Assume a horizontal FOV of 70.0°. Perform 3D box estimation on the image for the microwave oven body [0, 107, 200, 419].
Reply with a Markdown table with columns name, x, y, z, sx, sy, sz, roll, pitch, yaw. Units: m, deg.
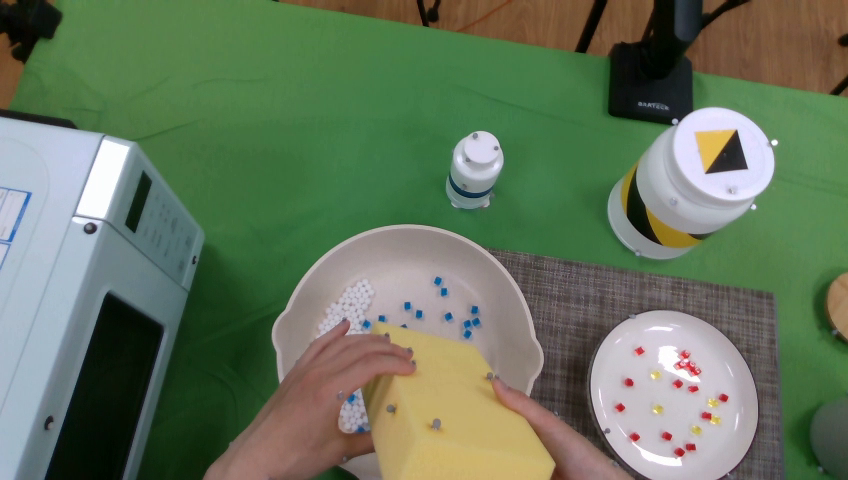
| name | x | y | z | sx | sy | sz | roll | pitch | yaw |
| --- | --- | --- | --- | --- | --- | --- | --- | --- | --- |
| microwave oven body | -0.452 | 0.117 | 0.574 | 0.326 | 0.261 | 0.439 | 10 | 72 | -2 |

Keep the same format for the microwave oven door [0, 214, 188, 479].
| name | x | y | z | sx | sy | sz | roll | pitch | yaw |
| --- | --- | --- | --- | --- | --- | --- | --- | --- | --- |
| microwave oven door | -0.315 | 0.179 | 0.559 | 0.039 | 0.245 | 0.353 | 9 | 71 | -2 |

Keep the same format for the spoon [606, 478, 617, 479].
| name | x | y | z | sx | sy | sz | roll | pitch | yaw |
| --- | --- | --- | --- | --- | --- | --- | --- | --- | --- |
| spoon | 0.264 | 0.352 | 0.685 | 0.041 | 0.022 | 0.193 | -35 | 79 | -32 |

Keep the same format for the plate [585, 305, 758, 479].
| name | x | y | z | sx | sy | sz | roll | pitch | yaw |
| --- | --- | --- | --- | --- | --- | --- | --- | --- | --- |
| plate | 0.294 | 0.183 | 0.733 | 0.209 | 0.038 | 0.208 | 1 | 72 | -4 |

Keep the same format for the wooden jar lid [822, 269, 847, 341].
| name | x | y | z | sx | sy | sz | roll | pitch | yaw |
| --- | --- | --- | --- | --- | --- | --- | --- | --- | --- |
| wooden jar lid | 0.578 | 0.091 | 0.802 | 0.108 | 0.021 | 0.107 | 1 | 73 | -4 |

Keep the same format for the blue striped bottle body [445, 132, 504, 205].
| name | x | y | z | sx | sy | sz | roll | pitch | yaw |
| --- | --- | --- | --- | --- | --- | --- | --- | --- | --- |
| blue striped bottle body | 0.064 | -0.095 | 0.765 | 0.063 | 0.121 | 0.062 | 1 | 71 | -4 |

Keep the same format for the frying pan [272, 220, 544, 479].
| name | x | y | z | sx | sy | sz | roll | pitch | yaw |
| --- | --- | --- | --- | --- | --- | --- | --- | --- | --- |
| frying pan | -0.031 | 0.215 | 0.662 | 0.307 | 0.103 | 0.484 | 8 | 63 | 1 |

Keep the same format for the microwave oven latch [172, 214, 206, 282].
| name | x | y | z | sx | sy | sz | roll | pitch | yaw |
| --- | --- | --- | --- | --- | --- | --- | --- | --- | --- |
| microwave oven latch | -0.286 | 0.008 | 0.726 | 0.030 | 0.029 | 0.078 | 12 | 72 | -1 |

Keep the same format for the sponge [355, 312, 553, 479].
| name | x | y | z | sx | sy | sz | roll | pitch | yaw |
| --- | --- | --- | --- | --- | --- | --- | --- | --- | --- |
| sponge | 0.014 | 0.147 | 0.546 | 0.119 | 0.205 | 0.061 | 17 | 103 | -19 |

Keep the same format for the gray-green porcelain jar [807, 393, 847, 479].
| name | x | y | z | sx | sy | sz | roll | pitch | yaw |
| --- | --- | --- | --- | --- | --- | --- | --- | --- | --- |
| gray-green porcelain jar | 0.521 | 0.226 | 0.696 | 0.106 | 0.127 | 0.105 | 2 | 71 | -4 |

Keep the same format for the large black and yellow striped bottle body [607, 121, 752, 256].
| name | x | y | z | sx | sy | sz | roll | pitch | yaw |
| --- | --- | --- | --- | --- | --- | --- | --- | --- | --- |
| large black and yellow striped bottle body | 0.317 | -0.067 | 0.745 | 0.131 | 0.185 | 0.130 | 1 | 71 | -4 |

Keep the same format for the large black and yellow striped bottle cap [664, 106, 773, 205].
| name | x | y | z | sx | sy | sz | roll | pitch | yaw |
| --- | --- | --- | --- | --- | --- | --- | --- | --- | --- |
| large black and yellow striped bottle cap | 0.323 | -0.094 | 0.664 | 0.115 | 0.019 | 0.114 | 2 | 70 | -4 |

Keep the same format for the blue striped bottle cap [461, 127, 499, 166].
| name | x | y | z | sx | sy | sz | roll | pitch | yaw |
| --- | --- | --- | --- | --- | --- | --- | --- | --- | --- |
| blue striped bottle cap | 0.067 | -0.111 | 0.717 | 0.044 | 0.021 | 0.044 | 1 | 68 | -3 |
